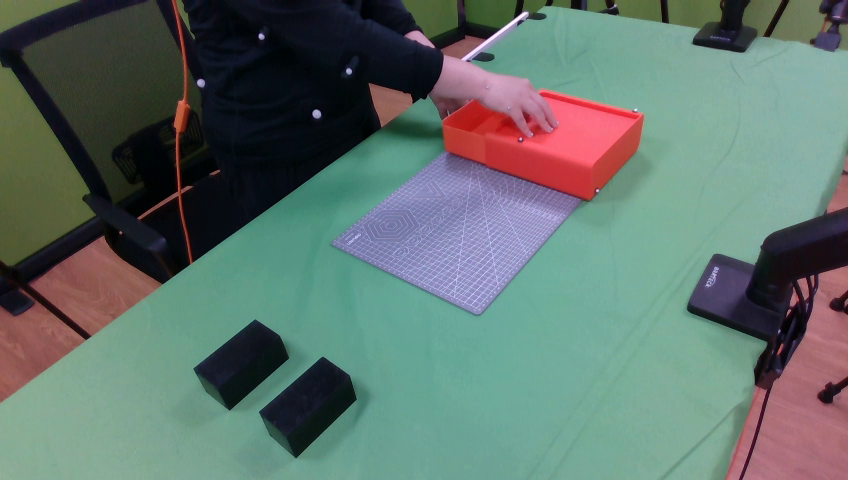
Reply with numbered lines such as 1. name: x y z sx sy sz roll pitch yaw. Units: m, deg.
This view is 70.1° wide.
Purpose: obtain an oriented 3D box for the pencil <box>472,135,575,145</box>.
1. pencil: 0.188 -0.190 1.151 0.194 0.012 0.012 -2 40 8

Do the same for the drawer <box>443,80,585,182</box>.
1. drawer: 0.176 -0.211 1.144 0.210 0.073 0.195 25 49 31

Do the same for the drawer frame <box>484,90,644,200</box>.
1. drawer frame: 0.252 -0.180 1.096 0.212 0.083 0.202 24 48 31
